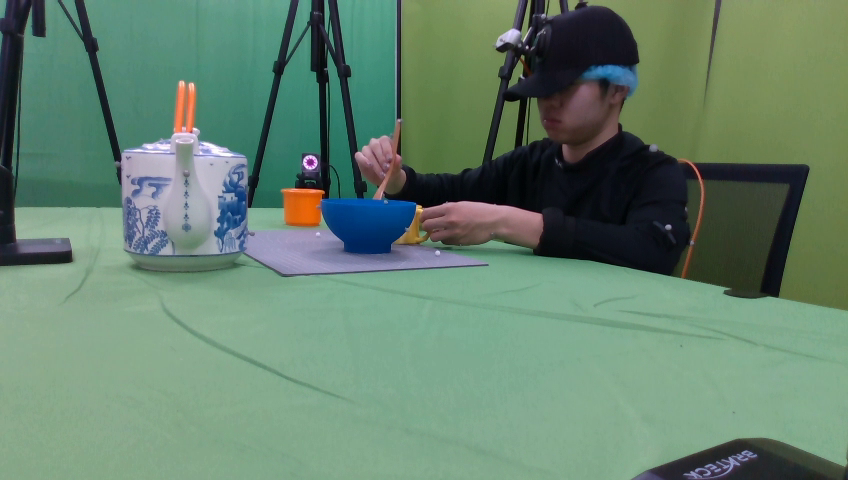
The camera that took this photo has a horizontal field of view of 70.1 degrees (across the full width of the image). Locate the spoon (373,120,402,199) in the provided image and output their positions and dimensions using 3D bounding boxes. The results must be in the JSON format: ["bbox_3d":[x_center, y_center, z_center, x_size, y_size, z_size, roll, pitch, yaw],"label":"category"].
[{"bbox_3d":[-0.066,-0.120,1.074,0.022,0.193,0.041,19,-6,-20],"label":"spoon"}]

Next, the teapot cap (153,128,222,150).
[{"bbox_3d":[-0.294,-0.117,0.754,0.085,0.044,0.085,4,9,0],"label":"teapot cap"}]

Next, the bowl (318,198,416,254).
[{"bbox_3d":[-0.089,-0.022,0.941,0.151,0.077,0.151,2,7,0],"label":"bowl"}]

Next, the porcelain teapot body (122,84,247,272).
[{"bbox_3d":[-0.286,-0.075,0.733,0.146,0.225,0.204,0,8,-24],"label":"porcelain teapot body"}]

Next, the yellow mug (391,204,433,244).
[{"bbox_3d":[-0.042,-0.030,1.070,0.130,0.064,0.100,7,9,27],"label":"yellow mug"}]
